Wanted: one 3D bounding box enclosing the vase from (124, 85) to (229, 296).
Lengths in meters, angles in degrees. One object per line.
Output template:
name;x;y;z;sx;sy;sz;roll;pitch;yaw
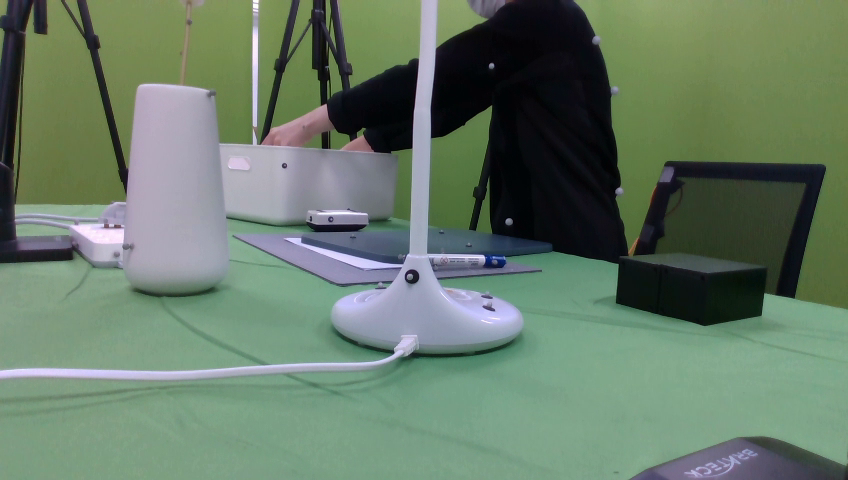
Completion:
vase;-0.244;-0.047;0.598;0.098;0.200;0.098;3;8;0

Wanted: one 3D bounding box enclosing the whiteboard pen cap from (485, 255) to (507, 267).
whiteboard pen cap;0.093;0.028;0.809;0.033;0.018;0.018;1;7;-24

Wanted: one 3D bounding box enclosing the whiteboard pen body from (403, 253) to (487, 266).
whiteboard pen body;0.040;0.026;0.785;0.141;0.017;0.017;2;7;-24

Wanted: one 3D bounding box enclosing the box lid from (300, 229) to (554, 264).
box lid;0.011;0.006;0.998;0.374;0.015;0.262;-3;9;-43

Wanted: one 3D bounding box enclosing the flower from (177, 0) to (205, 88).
flower;-0.243;-0.131;0.609;0.044;0.361;0.038;-5;-12;11

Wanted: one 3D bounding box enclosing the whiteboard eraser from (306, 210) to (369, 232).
whiteboard eraser;-0.168;-0.038;1.172;0.113;0.042;0.055;-3;7;-35

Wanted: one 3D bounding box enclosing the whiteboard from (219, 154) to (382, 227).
whiteboard;-0.276;-0.120;1.377;0.216;0.143;0.307;8;10;39

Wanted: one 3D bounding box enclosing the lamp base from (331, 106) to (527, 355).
lamp base;0.006;-0.012;0.478;0.161;0.180;0.179;2;10;2

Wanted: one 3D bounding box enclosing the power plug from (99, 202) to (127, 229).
power plug;-0.415;-0.026;0.848;0.073;0.052;0.035;6;5;-28

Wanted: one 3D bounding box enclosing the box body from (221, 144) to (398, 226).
box body;-0.264;-0.129;1.380;0.253;0.160;0.366;8;9;39

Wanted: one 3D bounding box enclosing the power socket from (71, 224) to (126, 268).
power socket;-0.409;0.004;0.793;0.072;0.032;0.225;-2;8;-37
